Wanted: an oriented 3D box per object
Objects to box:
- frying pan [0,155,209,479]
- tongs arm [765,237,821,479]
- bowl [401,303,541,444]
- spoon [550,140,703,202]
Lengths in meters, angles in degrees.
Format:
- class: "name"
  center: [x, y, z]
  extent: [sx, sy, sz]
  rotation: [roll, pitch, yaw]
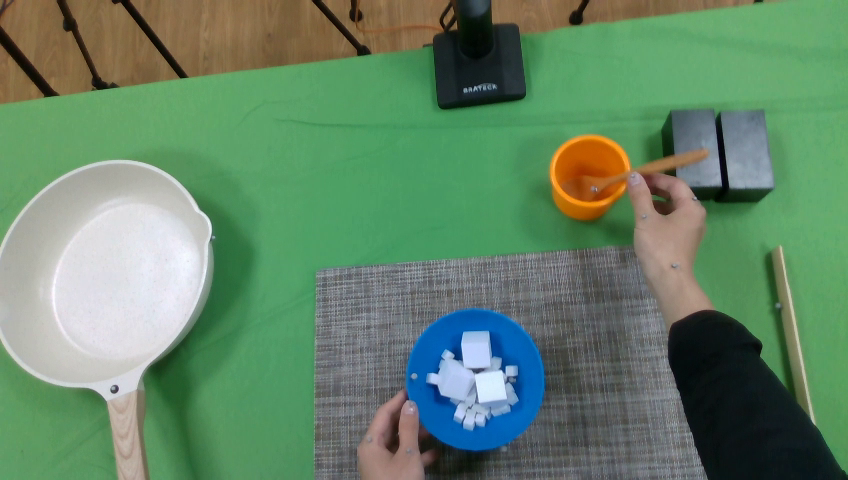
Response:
- class: "frying pan"
  center: [-0.377, 0.124, 0.739]
  extent: [0.307, 0.103, 0.483]
  rotation: [-21, 65, 3]
- class: "tongs arm"
  center: [0.420, 0.184, 0.661]
  extent: [0.028, 0.028, 0.385]
  rotation: [-5, 75, 5]
- class: "bowl"
  center: [0.054, 0.151, 0.685]
  extent: [0.151, 0.077, 0.150]
  rotation: [-2, 75, 7]
- class: "spoon"
  center: [0.223, -0.080, 0.691]
  extent: [0.022, 0.193, 0.041]
  rotation: [3, 79, -36]
